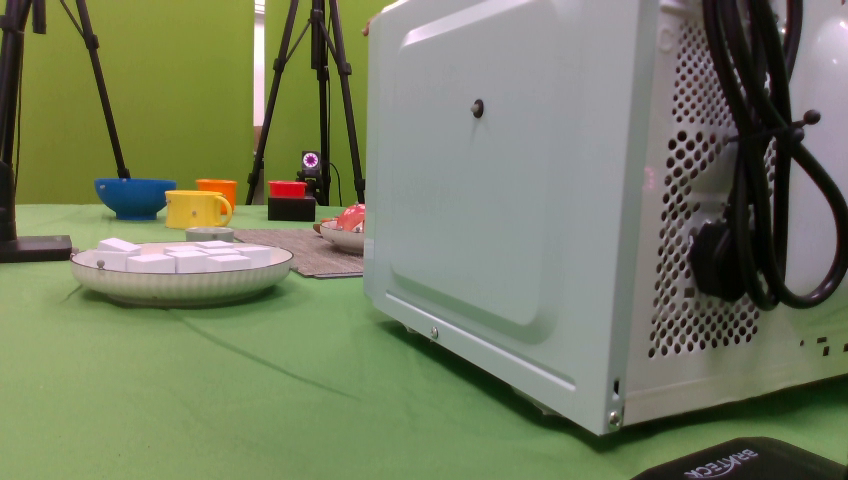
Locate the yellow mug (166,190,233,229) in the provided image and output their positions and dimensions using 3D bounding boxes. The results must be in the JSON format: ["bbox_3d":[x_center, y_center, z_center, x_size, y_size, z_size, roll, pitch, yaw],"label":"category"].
[{"bbox_3d":[-0.415,-0.057,1.132,0.130,0.064,0.100,6,8,16],"label":"yellow mug"}]

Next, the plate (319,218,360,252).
[{"bbox_3d":[-0.059,-0.007,0.939,0.209,0.038,0.209,3,8,0],"label":"plate"}]

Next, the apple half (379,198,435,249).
[{"bbox_3d":[-0.020,-0.030,0.891,0.081,0.053,0.074,-2,49,-26],"label":"apple half"}]

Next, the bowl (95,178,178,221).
[{"bbox_3d":[-0.576,-0.081,1.217,0.151,0.077,0.151,4,8,0],"label":"bowl"}]

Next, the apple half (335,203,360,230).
[{"bbox_3d":[-0.116,-0.038,0.960,0.081,0.033,0.081,-38,8,7],"label":"apple half"}]

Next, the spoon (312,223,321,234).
[{"bbox_3d":[-0.112,-0.022,1.095,0.195,0.021,0.041,-4,-16,-38],"label":"spoon"}]

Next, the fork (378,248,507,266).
[{"bbox_3d":[0.032,0.022,0.819,0.208,0.018,0.028,-5,3,-33],"label":"fork"}]

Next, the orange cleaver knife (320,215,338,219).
[{"bbox_3d":[-0.142,-0.057,1.394,0.077,0.012,0.212,3,7,44],"label":"orange cleaver knife"}]

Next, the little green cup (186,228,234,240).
[{"bbox_3d":[-0.284,0.005,0.805,0.061,0.038,0.061,2,8,0],"label":"little green cup"}]

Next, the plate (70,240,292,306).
[{"bbox_3d":[-0.242,0.032,0.618,0.208,0.039,0.207,3,8,0],"label":"plate"}]

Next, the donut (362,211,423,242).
[{"bbox_3d":[-0.050,-0.020,0.958,0.099,0.048,0.099,3,6,0],"label":"donut"}]

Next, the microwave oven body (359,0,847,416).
[{"bbox_3d":[0.211,-0.047,0.474,0.444,0.260,0.324,-1,7,-28],"label":"microwave oven body"}]

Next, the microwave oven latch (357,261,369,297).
[{"bbox_3d":[-0.019,0.033,0.531,0.079,0.029,0.030,-1,7,-28],"label":"microwave oven latch"}]

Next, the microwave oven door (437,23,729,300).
[{"bbox_3d":[0.181,-0.072,0.621,0.358,0.243,0.039,-2,8,-29],"label":"microwave oven door"}]
